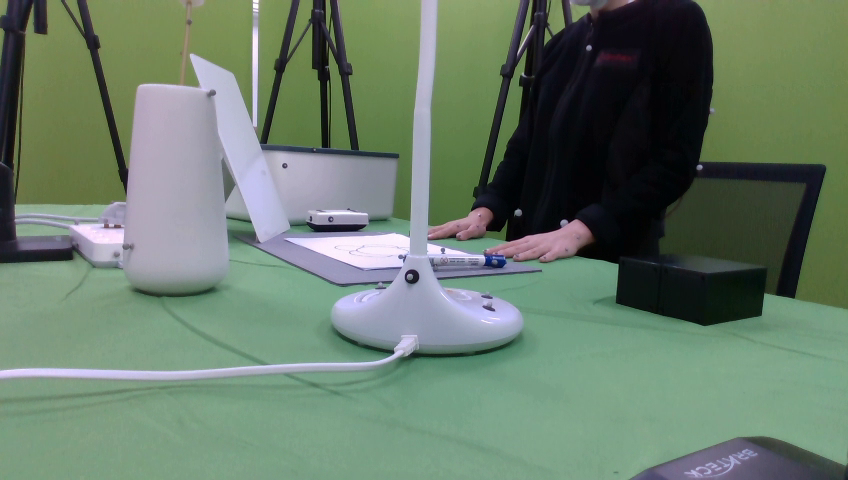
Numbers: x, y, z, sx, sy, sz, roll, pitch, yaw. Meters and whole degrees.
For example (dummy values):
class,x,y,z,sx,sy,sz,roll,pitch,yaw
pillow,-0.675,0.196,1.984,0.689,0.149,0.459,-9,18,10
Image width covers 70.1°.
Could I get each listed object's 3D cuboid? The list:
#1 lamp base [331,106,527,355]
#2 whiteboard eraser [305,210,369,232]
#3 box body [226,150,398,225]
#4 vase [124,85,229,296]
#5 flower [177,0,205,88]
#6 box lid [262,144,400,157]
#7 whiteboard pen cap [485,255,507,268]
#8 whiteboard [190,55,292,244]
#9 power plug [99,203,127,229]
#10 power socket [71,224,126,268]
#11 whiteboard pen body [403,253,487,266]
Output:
class,x,y,z,sx,sy,sz,roll,pitch,yaw
lamp base,0.006,-0.012,0.478,0.161,0.180,0.179,2,10,2
whiteboard eraser,-0.168,-0.038,1.172,0.113,0.042,0.055,-3,8,-35
box body,-0.265,-0.129,1.380,0.253,0.160,0.366,8,9,39
vase,-0.244,-0.047,0.598,0.098,0.200,0.098,3,8,0
flower,-0.243,-0.131,0.609,0.044,0.361,0.038,-5,-12,11
box lid,-0.263,-0.203,1.369,0.262,0.015,0.373,9,10,39
whiteboard pen cap,0.093,0.028,0.810,0.033,0.018,0.018,1,7,-24
whiteboard,-0.363,-0.129,1.028,0.144,0.305,0.217,-18,7,3
power plug,-0.415,-0.026,0.848,0.073,0.052,0.035,6,5,-28
power socket,-0.409,0.004,0.793,0.072,0.032,0.225,-2,8,-37
whiteboard pen body,0.040,0.026,0.785,0.141,0.017,0.017,1,7,-24
